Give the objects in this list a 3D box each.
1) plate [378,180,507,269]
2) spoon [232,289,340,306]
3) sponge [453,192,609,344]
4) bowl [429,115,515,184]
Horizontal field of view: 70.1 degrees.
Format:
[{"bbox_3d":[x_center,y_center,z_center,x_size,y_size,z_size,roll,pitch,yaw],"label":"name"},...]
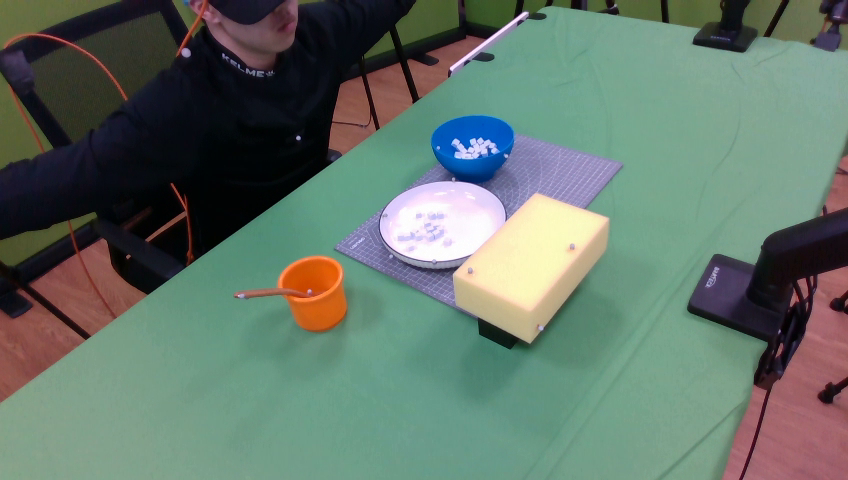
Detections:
[{"bbox_3d":[0.031,-0.022,0.974,0.209,0.038,0.208,-4,40,4],"label":"plate"},{"bbox_3d":[-0.181,0.074,0.811,0.041,0.195,0.021,16,90,31],"label":"spoon"},{"bbox_3d":[0.147,0.029,0.808,0.117,0.061,0.207,23,49,31],"label":"sponge"},{"bbox_3d":[0.089,-0.154,1.089,0.151,0.077,0.150,-4,41,4],"label":"bowl"}]
